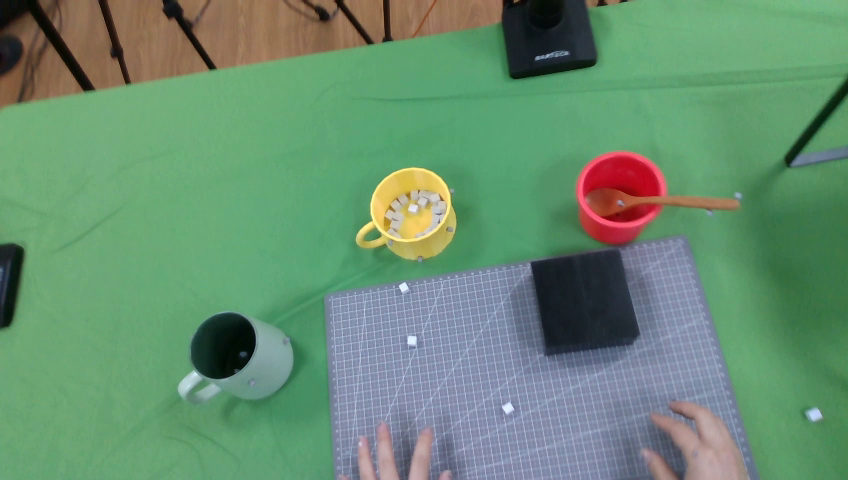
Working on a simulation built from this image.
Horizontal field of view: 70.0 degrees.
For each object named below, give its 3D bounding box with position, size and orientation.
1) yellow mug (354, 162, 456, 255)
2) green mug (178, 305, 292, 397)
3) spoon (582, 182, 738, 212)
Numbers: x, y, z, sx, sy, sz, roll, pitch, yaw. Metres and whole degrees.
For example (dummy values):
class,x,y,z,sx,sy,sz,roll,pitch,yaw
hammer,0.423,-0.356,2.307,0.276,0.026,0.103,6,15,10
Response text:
class,x,y,z,sx,sy,sz,roll,pitch,yaw
yellow mug,-0.027,-0.031,0.756,0.131,0.064,0.099,-28,68,-2
green mug,-0.223,0.136,0.701,0.125,0.106,0.092,-40,69,-7
spoon,0.254,-0.047,0.677,0.192,0.022,0.041,8,66,59
